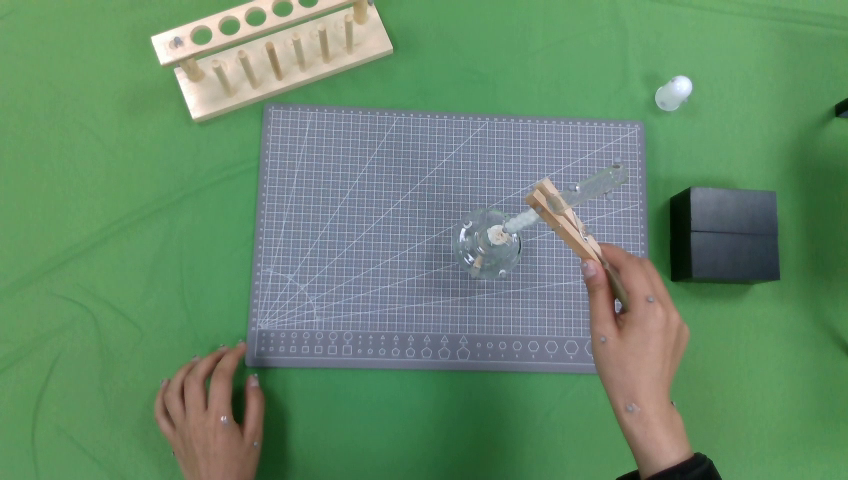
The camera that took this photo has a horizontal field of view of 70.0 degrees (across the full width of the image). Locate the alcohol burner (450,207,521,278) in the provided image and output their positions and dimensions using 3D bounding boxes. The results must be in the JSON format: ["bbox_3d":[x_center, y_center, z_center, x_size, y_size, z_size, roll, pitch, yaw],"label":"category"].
[{"bbox_3d":[0.068,0.000,0.637,0.078,0.119,0.077,1,82,-5],"label":"alcohol burner"}]

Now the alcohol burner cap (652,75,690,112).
[{"bbox_3d":[0.296,-0.176,0.721,0.034,0.048,0.033,1,80,-2],"label":"alcohol burner cap"}]

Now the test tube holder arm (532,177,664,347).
[{"bbox_3d":[0.148,0.021,0.508,0.013,0.015,0.179,-44,101,-25],"label":"test tube holder arm"}]

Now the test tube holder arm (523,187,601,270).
[{"bbox_3d":[0.115,-0.008,0.497,0.088,0.015,0.010,44,65,-13],"label":"test tube holder arm"}]

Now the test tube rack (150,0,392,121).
[{"bbox_3d":[-0.160,-0.217,0.671,0.242,0.085,0.066,-22,82,-7],"label":"test tube rack"}]

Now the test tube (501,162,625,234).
[{"bbox_3d":[0.105,-0.030,0.488,0.017,0.150,0.017,7,73,-23],"label":"test tube"}]
